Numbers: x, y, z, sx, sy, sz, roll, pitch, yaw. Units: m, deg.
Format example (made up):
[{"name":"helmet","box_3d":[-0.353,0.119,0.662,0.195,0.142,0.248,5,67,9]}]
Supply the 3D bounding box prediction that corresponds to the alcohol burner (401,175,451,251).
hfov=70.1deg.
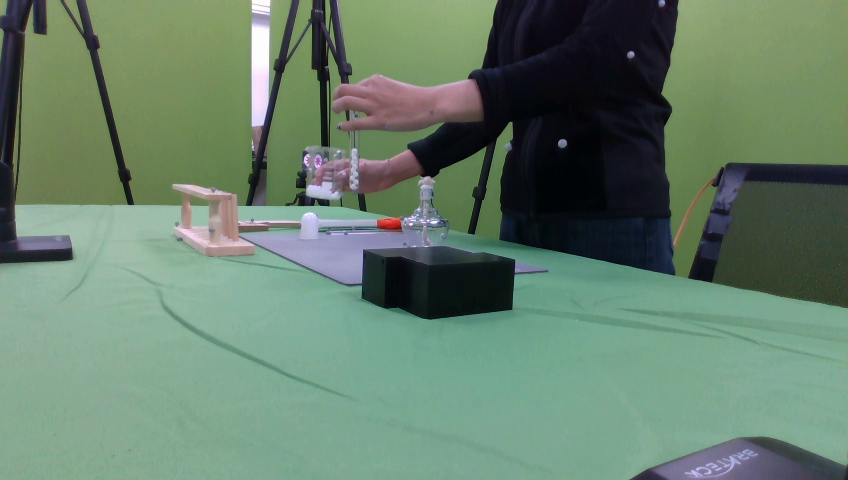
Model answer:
[{"name":"alcohol burner","box_3d":[0.003,-0.042,0.947,0.078,0.119,0.078,1,9,0]}]

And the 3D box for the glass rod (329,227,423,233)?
[{"name":"glass rod","box_3d":[-0.087,-0.019,1.148,0.201,0.008,0.008,-2,8,-32]}]

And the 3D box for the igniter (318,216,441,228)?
[{"name":"igniter","box_3d":[-0.090,-0.035,1.223,0.278,0.025,0.057,-2,-1,-31]}]

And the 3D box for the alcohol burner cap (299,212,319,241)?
[{"name":"alcohol burner cap","box_3d":[-0.195,-0.024,1.025,0.034,0.048,0.034,3,7,0]}]

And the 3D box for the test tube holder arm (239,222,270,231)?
[{"name":"test tube holder arm","box_3d":[-0.322,-0.024,1.100,0.088,0.015,0.010,-4,43,-49]}]

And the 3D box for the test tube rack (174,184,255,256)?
[{"name":"test tube rack","box_3d":[-0.327,-0.036,0.928,0.067,0.085,0.241,-2,9,-32]}]

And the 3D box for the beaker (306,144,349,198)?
[{"name":"beaker","box_3d":[-0.193,-0.135,1.184,0.084,0.100,0.073,3,6,-32]}]

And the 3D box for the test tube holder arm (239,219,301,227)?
[{"name":"test tube holder arm","box_3d":[-0.296,-0.030,1.137,0.179,0.015,0.013,-6,45,-50]}]

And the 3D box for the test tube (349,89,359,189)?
[{"name":"test tube","box_3d":[-0.106,-0.153,0.918,0.017,0.150,0.017,1,8,0]}]
